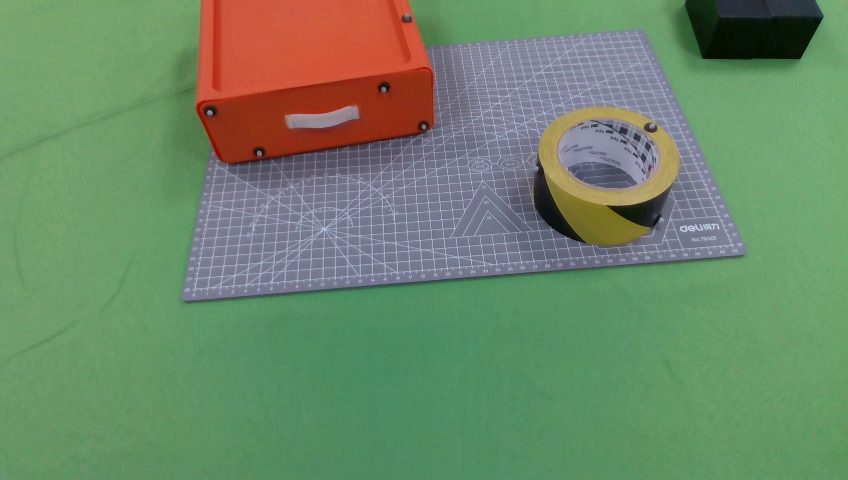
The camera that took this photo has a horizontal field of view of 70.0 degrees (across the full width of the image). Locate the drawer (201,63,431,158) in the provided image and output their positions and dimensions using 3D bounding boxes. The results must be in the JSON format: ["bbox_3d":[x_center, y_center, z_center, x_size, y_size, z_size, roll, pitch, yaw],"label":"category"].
[{"bbox_3d":[-0.108,-0.189,0.589,0.195,0.074,0.209,-11,54,-5],"label":"drawer"}]

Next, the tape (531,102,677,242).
[{"bbox_3d":[0.148,-0.057,0.503,0.117,0.053,0.115,-1,55,2],"label":"tape"}]

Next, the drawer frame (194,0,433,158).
[{"bbox_3d":[-0.110,-0.191,0.589,0.202,0.083,0.211,-11,54,-6],"label":"drawer frame"}]
